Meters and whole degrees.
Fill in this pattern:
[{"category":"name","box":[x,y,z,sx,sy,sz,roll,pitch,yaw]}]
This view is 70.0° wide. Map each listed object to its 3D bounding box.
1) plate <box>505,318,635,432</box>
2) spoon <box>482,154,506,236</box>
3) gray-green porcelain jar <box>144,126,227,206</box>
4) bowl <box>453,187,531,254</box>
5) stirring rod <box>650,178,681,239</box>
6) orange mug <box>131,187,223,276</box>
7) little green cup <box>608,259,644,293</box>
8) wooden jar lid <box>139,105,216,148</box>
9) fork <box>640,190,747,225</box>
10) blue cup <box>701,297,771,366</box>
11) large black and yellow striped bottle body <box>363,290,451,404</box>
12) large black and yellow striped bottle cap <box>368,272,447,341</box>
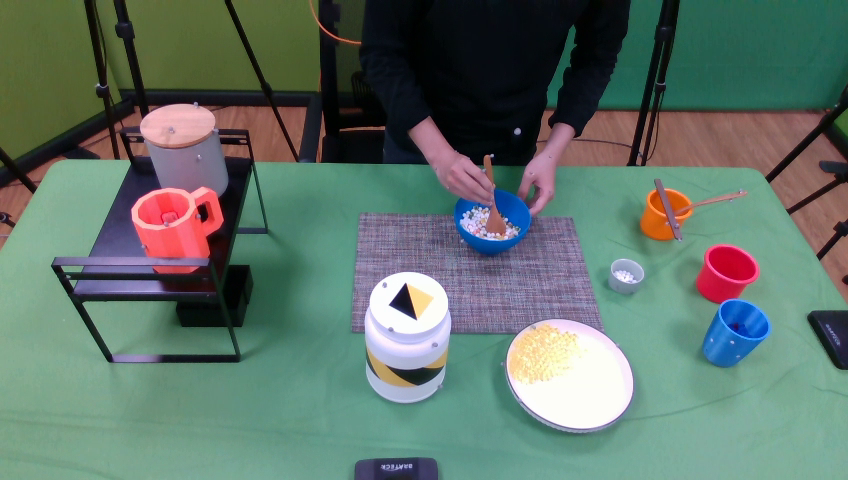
[{"category":"plate","box":[0.235,0.221,0.991,0.209,0.038,0.208,2,46,-2]},{"category":"spoon","box":[0.125,-0.080,1.135,0.041,0.195,0.021,-3,38,14]},{"category":"gray-green porcelain jar","box":[-0.375,-0.125,0.967,0.106,0.127,0.105,2,46,-2]},{"category":"bowl","box":[0.128,-0.026,1.186,0.151,0.077,0.150,2,46,-2]},{"category":"stirring rod","box":[0.479,-0.065,1.204,0.014,0.006,0.175,3,46,-4]},{"category":"orange mug","box":[-0.354,-0.022,0.888,0.083,0.101,0.126,31,55,24]},{"category":"little green cup","box":[0.379,0.070,1.147,0.061,0.039,0.061,3,45,-2]},{"category":"wooden jar lid","box":[-0.372,-0.169,0.920,0.108,0.021,0.107,4,43,-4]},{"category":"fork","box":[0.533,-0.064,1.211,0.207,0.019,0.028,-22,27,39]},{"category":"blue cup","box":[0.519,0.162,1.025,0.093,0.101,0.092,3,45,-3]},{"category":"large black and yellow striped bottle body","box":[-0.027,0.153,0.935,0.131,0.185,0.130,2,46,-2]},{"category":"large black and yellow striped bottle cap","box":[-0.023,0.093,0.875,0.115,0.019,0.114,3,46,-3]}]
